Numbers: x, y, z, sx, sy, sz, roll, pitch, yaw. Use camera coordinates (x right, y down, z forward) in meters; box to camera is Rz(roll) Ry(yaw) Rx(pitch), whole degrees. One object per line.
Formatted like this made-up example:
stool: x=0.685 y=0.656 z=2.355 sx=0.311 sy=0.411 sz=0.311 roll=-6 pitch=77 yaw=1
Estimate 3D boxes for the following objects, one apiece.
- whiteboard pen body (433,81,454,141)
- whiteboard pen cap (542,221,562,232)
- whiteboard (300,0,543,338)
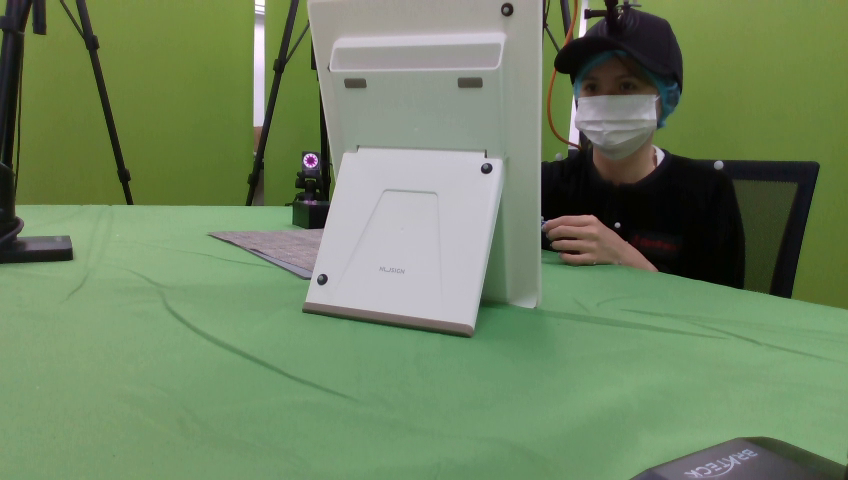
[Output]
whiteboard pen body: x=0.020 y=-0.134 z=0.624 sx=0.017 sy=0.017 sz=0.140 roll=3 pitch=35 yaw=4
whiteboard pen cap: x=0.194 y=-0.021 z=0.927 sx=0.033 sy=0.018 sz=0.018 roll=2 pitch=6 yaw=37
whiteboard: x=-0.020 y=-0.050 z=0.523 sx=0.216 sy=0.305 sz=0.144 roll=6 pitch=28 yaw=22
